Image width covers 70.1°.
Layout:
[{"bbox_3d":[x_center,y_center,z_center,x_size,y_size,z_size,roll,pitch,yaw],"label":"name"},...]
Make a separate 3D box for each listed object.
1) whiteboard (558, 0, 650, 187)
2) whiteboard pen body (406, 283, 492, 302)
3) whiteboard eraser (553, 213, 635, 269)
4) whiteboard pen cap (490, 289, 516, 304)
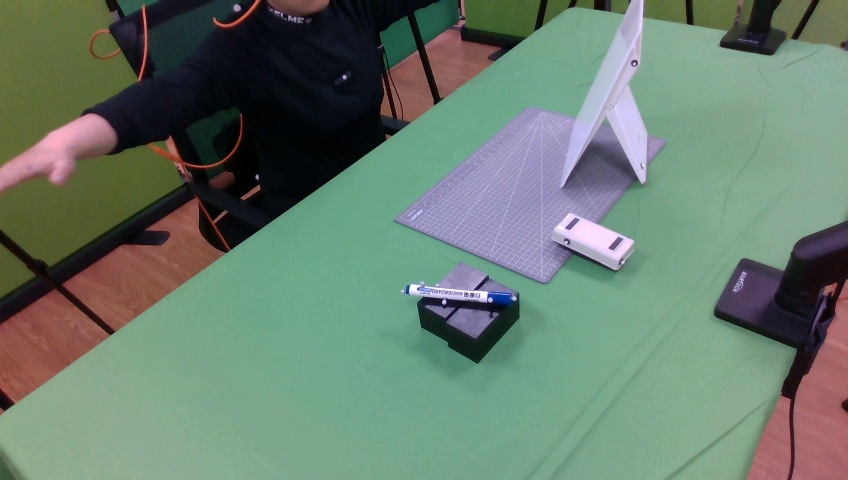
[{"bbox_3d":[0.361,-0.238,1.026,0.144,0.306,0.217,21,45,4],"label":"whiteboard"},{"bbox_3d":[0.044,0.072,0.812,0.140,0.017,0.017,4,42,14],"label":"whiteboard pen body"},{"bbox_3d":[0.257,0.003,0.918,0.112,0.042,0.056,27,49,30],"label":"whiteboard eraser"},{"bbox_3d":[0.105,0.074,0.798,0.033,0.018,0.018,-8,37,-28],"label":"whiteboard pen cap"}]
